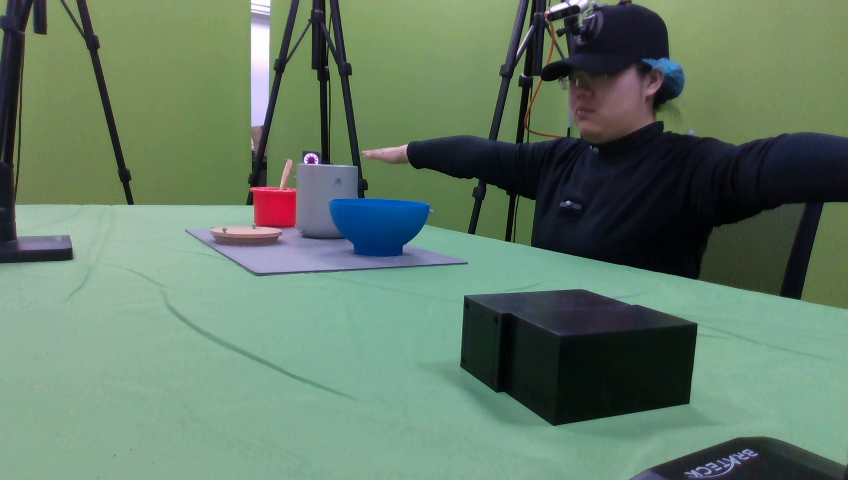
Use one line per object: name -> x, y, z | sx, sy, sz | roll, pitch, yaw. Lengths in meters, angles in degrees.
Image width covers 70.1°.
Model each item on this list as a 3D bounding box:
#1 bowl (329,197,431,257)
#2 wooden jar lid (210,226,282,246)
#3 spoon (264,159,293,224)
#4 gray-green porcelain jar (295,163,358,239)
bowl -> -0.067, -0.019, 0.895 | 0.151, 0.077, 0.151 | 3, 7, 0
wooden jar lid -> -0.279, -0.007, 0.951 | 0.108, 0.020, 0.108 | 2, 8, 0
spoon -> -0.288, -0.102, 1.227 | 0.041, 0.021, 0.193 | 1, 51, 3
gray-green porcelain jar -> -0.170, -0.069, 1.054 | 0.106, 0.126, 0.106 | 3, 7, 0
